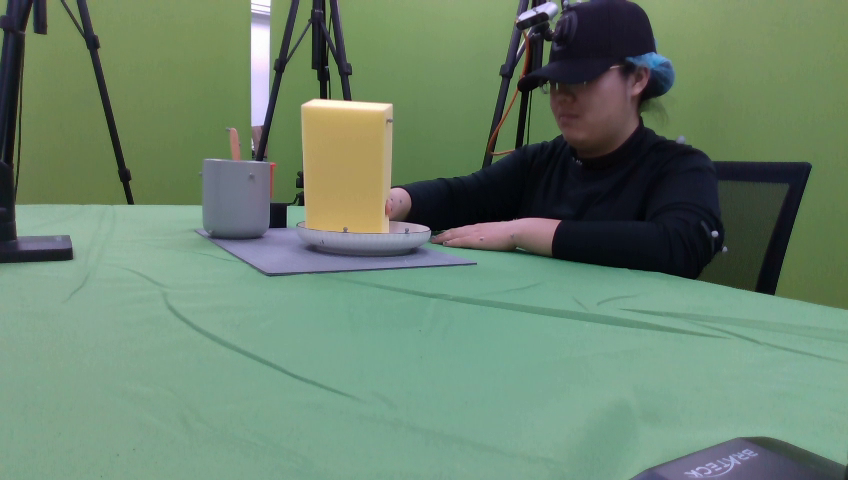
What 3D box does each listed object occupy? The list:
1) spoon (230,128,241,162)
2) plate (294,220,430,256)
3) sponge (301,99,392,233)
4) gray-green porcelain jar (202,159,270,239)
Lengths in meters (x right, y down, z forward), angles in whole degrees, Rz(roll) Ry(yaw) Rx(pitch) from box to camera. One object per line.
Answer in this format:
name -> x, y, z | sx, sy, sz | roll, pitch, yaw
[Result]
spoon -> -0.314, -0.109, 1.025 | 0.042, 0.193, 0.021 | -5, -19, -16
plate -> -0.096, -0.005, 0.936 | 0.208, 0.039, 0.207 | 3, 7, 0
sponge -> -0.112, -0.096, 0.884 | 0.118, 0.207, 0.061 | 6, 23, 6
gray-green porcelain jar -> -0.310, -0.068, 0.999 | 0.106, 0.126, 0.106 | 3, 8, 0
